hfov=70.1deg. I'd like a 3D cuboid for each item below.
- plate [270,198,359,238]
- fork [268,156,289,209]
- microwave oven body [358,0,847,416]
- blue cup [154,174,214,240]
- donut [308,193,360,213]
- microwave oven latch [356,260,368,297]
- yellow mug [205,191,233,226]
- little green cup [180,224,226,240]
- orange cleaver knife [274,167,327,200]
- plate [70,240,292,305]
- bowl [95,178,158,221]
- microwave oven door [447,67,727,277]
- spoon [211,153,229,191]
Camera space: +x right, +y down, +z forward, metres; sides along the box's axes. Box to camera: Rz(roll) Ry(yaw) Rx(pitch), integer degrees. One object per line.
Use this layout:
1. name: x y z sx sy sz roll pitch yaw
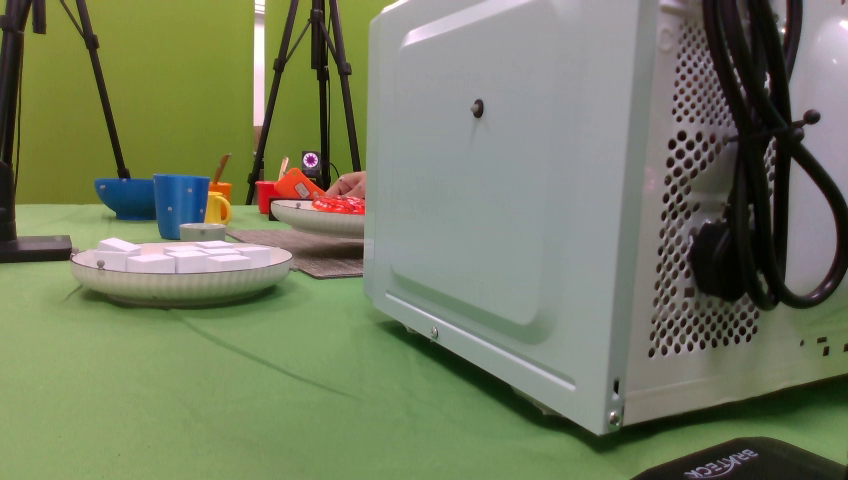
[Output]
1. plate: -0.119 -0.031 0.883 0.209 0.038 0.209 6 7 0
2. fork: -0.360 -0.144 1.508 0.028 0.018 0.207 1 49 0
3. microwave oven body: 0.211 -0.047 0.474 0.444 0.260 0.324 -1 7 -28
4. blue cup: -0.390 -0.053 0.978 0.093 0.100 0.092 3 6 0
5. donut: -0.120 -0.043 0.886 0.099 0.048 0.099 7 9 -1
6. microwave oven latch: -0.020 0.033 0.531 0.079 0.029 0.030 -1 7 -27
7. yellow mug: -0.415 -0.057 1.132 0.130 0.064 0.100 6 8 16
8. little green cup: -0.308 -0.001 0.846 0.061 0.038 0.061 2 8 0
9. orange cleaver knife: -0.238 -0.091 1.381 0.212 0.077 0.012 31 0 -19
10. plate: -0.242 0.031 0.618 0.208 0.039 0.207 2 8 0
11. bowl: -0.576 -0.081 1.217 0.151 0.077 0.151 3 8 0
12. microwave oven door: 0.193 -0.094 0.796 0.354 0.243 0.039 7 9 34
13. spoon: -0.431 -0.115 1.253 0.042 0.193 0.021 -3 54 -33
